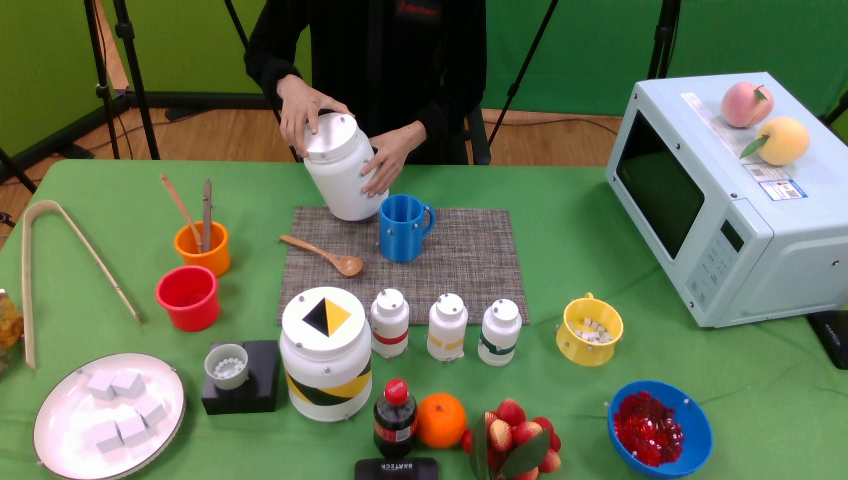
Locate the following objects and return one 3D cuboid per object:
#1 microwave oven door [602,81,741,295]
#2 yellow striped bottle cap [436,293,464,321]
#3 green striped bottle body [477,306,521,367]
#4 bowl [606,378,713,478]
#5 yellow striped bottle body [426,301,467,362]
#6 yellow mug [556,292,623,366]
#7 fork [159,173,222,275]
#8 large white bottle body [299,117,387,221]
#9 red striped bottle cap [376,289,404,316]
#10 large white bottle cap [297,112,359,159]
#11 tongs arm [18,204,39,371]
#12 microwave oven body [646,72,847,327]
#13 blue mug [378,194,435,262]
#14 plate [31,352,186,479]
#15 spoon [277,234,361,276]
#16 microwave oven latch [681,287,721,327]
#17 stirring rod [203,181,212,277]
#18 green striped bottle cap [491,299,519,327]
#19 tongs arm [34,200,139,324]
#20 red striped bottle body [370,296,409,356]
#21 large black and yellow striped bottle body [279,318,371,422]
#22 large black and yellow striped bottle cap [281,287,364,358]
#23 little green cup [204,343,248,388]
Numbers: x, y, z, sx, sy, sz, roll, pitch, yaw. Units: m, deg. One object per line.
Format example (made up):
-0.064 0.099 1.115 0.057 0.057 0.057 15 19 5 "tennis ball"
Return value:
0.456 -0.107 1.162 0.039 0.245 0.353 -7 47 -11 "microwave oven door"
0.041 0.106 0.959 0.044 0.019 0.044 0 50 1 "yellow striped bottle cap"
0.124 0.151 0.995 0.063 0.120 0.063 2 46 -2 "green striped bottle body"
0.340 0.292 0.906 0.151 0.077 0.150 2 46 -2 "bowl"
0.037 0.142 0.996 0.063 0.121 0.062 2 46 -2 "yellow striped bottle body"
0.285 0.145 1.051 0.100 0.064 0.130 7 45 3 "yellow mug"
-0.427 -0.029 1.103 0.028 0.018 0.207 -31 99 -30 "fork"
-0.159 -0.141 1.185 0.130 0.186 0.130 -9 50 11 "large white bottle body"
-0.055 0.098 0.958 0.044 0.018 0.044 0 48 0 "red striped bottle cap"
-0.178 -0.194 1.120 0.115 0.018 0.114 -7 49 8 "large white bottle cap"
-0.698 0.070 1.070 0.028 0.028 0.385 -21 51 -13 "tongs arm"
0.607 -0.089 1.164 0.326 0.261 0.438 -7 46 -10 "microwave oven body"
-0.032 -0.027 1.160 0.116 0.106 0.082 -19 51 -21 "blue mug"
-0.459 0.262 0.898 0.209 0.038 0.208 2 46 -2 "plate"
-0.202 0.023 1.155 0.193 0.022 0.041 23 70 18 "spoon"
0.494 0.119 1.087 0.030 0.029 0.078 -5 46 -9 "microwave oven latch"
-0.396 -0.021 1.108 0.014 0.006 0.176 -1 89 -2 "stirring rod"
0.128 0.115 0.958 0.044 0.020 0.044 1 46 0 "green striped bottle cap"
-0.622 0.034 1.105 0.051 0.026 0.382 -32 56 -25 "tongs arm"
-0.058 0.134 0.997 0.063 0.120 0.062 4 47 -4 "red striped bottle body"
-0.145 0.173 0.907 0.131 0.185 0.130 2 46 -2 "large black and yellow striped bottle body"
-0.141 0.112 0.847 0.115 0.019 0.114 5 45 -4 "large black and yellow striped bottle cap"
-0.294 0.190 0.909 0.061 0.039 0.061 1 48 0 "little green cup"
